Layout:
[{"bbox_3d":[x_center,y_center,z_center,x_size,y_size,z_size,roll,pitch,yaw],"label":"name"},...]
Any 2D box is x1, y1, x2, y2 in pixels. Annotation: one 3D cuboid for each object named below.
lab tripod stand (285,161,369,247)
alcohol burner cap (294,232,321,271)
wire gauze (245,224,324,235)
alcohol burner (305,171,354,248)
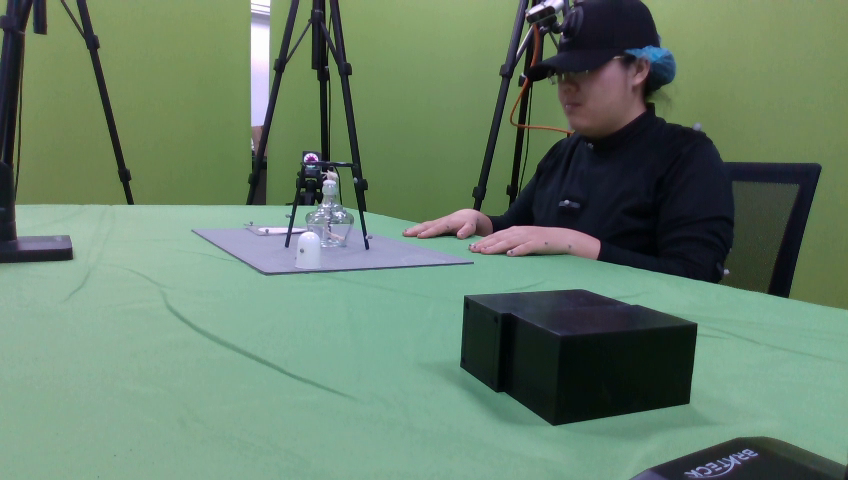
[{"bbox_3d":[-0.151,-0.058,0.947,0.148,0.131,0.148,1,6,0],"label":"lab tripod stand"},{"bbox_3d":[-0.144,0.013,0.748,0.034,0.048,0.034,3,6,0],"label":"alcohol burner cap"},{"bbox_3d":[-0.256,-0.020,1.108,0.122,0.011,0.124,-1,6,-28],"label":"wire gauze"},{"bbox_3d":[-0.148,-0.048,0.949,0.078,0.119,0.078,1,6,0],"label":"alcohol burner"}]
